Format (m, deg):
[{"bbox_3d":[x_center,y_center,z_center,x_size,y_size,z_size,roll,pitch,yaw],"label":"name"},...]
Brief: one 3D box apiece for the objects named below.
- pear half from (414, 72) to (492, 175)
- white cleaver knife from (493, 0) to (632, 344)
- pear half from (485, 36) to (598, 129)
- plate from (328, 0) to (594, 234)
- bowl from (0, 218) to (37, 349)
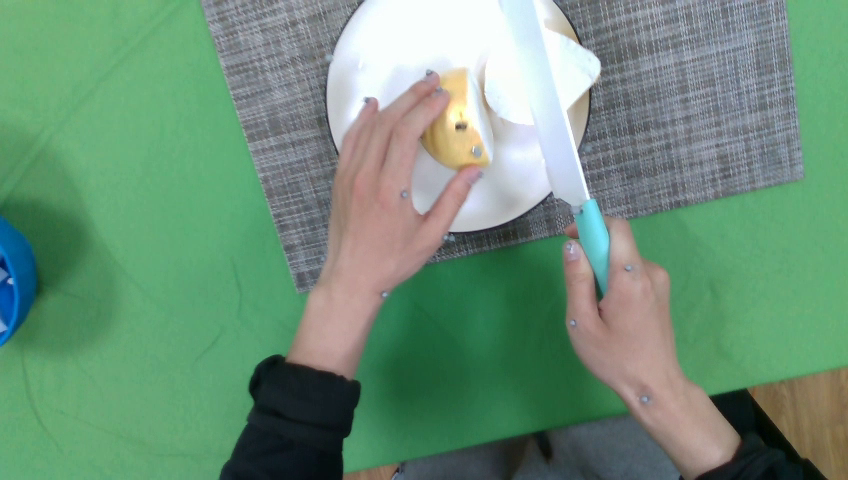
[{"bbox_3d":[0.019,-0.082,0.449,0.056,0.109,0.076,-19,98,12],"label":"pear half"},{"bbox_3d":[0.102,-0.044,0.429,0.021,0.065,0.289,-24,115,-6],"label":"white cleaver knife"},{"bbox_3d":[0.092,-0.123,0.475,0.087,0.031,0.070,-2,102,21],"label":"pear half"},{"bbox_3d":[0.029,-0.109,0.488,0.207,0.039,0.208,1,105,3],"label":"plate"},{"bbox_3d":[-0.403,0.028,0.530,0.151,0.076,0.152,1,104,3],"label":"bowl"}]
